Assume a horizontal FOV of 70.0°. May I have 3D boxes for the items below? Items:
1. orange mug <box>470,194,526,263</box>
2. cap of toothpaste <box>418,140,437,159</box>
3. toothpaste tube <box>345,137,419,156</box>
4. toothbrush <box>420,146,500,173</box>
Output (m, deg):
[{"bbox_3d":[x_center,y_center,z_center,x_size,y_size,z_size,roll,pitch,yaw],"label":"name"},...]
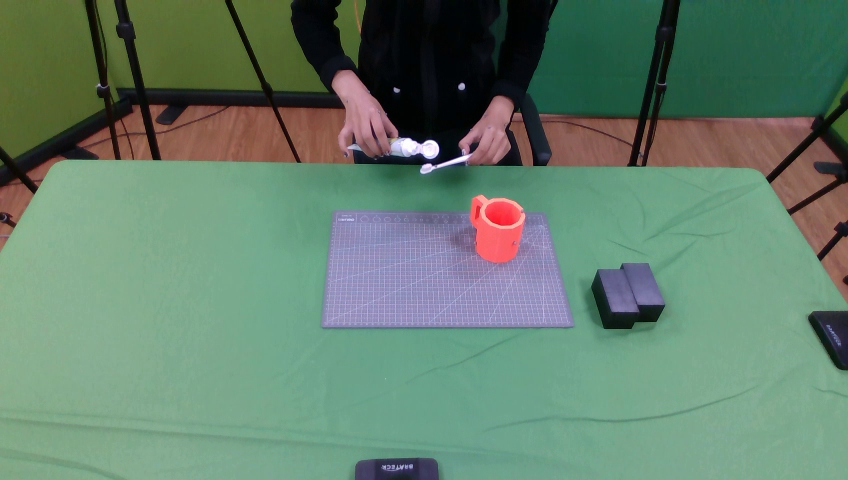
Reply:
[{"bbox_3d":[0.136,-0.030,1.180,0.083,0.101,0.125,-26,58,-26],"label":"orange mug"},{"bbox_3d":[0.007,-0.171,1.136,0.037,0.037,0.011,18,8,13],"label":"cap of toothpaste"},{"bbox_3d":[-0.076,-0.185,1.169,0.164,0.034,0.055,11,29,35],"label":"toothpaste tube"},{"bbox_3d":[0.073,-0.162,1.194,0.182,0.017,0.014,-18,42,-24],"label":"toothbrush"}]
